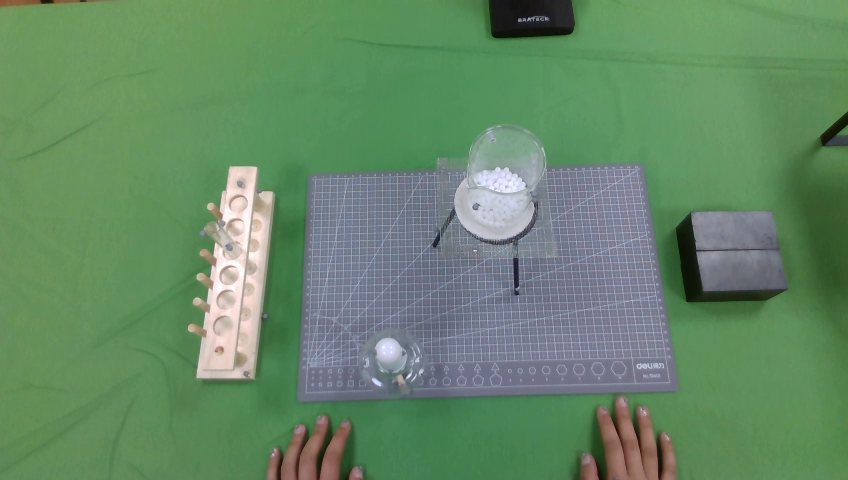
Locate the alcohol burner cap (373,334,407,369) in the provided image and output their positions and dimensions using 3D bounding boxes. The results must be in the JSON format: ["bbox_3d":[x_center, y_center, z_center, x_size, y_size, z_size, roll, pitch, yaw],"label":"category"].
[{"bbox_3d":[-0.038,0.116,0.641,0.034,0.048,0.033,-2,67,6],"label":"alcohol burner cap"}]

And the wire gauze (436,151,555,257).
[{"bbox_3d":[0.076,-0.040,0.652,0.125,0.011,0.120,0,71,-2],"label":"wire gauze"}]

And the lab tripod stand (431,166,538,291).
[{"bbox_3d":[0.081,-0.022,0.715,0.148,0.132,0.147,-1,69,2],"label":"lab tripod stand"}]

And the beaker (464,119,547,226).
[{"bbox_3d":[0.075,-0.061,0.608,0.084,0.101,0.073,-34,73,-11],"label":"beaker"}]

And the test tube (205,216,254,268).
[{"bbox_3d":[-0.217,0.006,0.686,0.017,0.151,0.017,0,72,-1],"label":"test tube"}]

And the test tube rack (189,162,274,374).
[{"bbox_3d":[-0.235,0.034,0.729,0.067,0.086,0.240,1,71,1],"label":"test tube rack"}]

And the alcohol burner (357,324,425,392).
[{"bbox_3d":[-0.037,0.129,0.675,0.078,0.120,0.077,0,70,-1],"label":"alcohol burner"}]
